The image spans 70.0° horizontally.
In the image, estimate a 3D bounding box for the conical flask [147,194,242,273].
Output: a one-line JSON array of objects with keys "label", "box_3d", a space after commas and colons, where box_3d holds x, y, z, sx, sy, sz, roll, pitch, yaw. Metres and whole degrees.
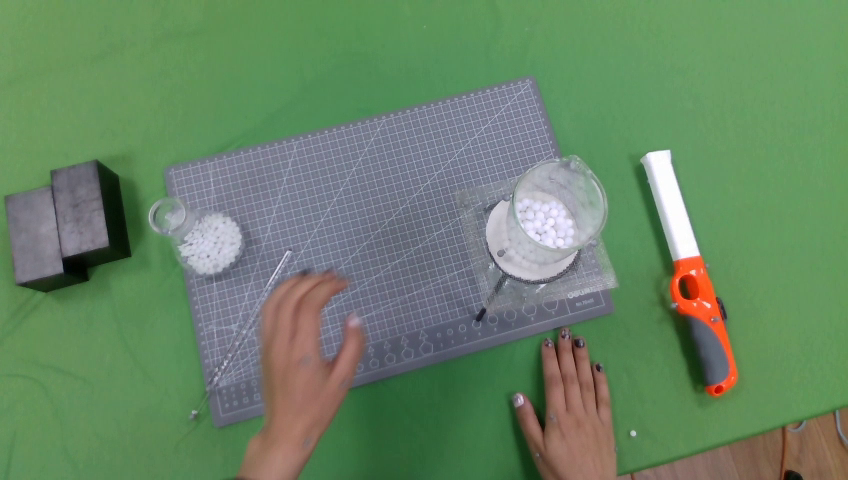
[{"label": "conical flask", "box_3d": [-0.241, -0.012, 0.623, 0.075, 0.122, 0.075, 0, 77, 0]}]

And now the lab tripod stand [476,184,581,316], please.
[{"label": "lab tripod stand", "box_3d": [0.099, 0.010, 0.619, 0.148, 0.132, 0.147, 0, 79, -1]}]

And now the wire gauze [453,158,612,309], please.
[{"label": "wire gauze", "box_3d": [0.100, -0.007, 0.556, 0.125, 0.011, 0.121, -12, 81, -5]}]

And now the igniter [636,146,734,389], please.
[{"label": "igniter", "box_3d": [0.291, 0.026, 0.677, 0.057, 0.025, 0.275, -9, 78, -14]}]

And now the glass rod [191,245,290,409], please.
[{"label": "glass rod", "box_3d": [-0.198, 0.092, 0.659, 0.008, 0.008, 0.199, 27, 78, 5]}]

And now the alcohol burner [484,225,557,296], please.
[{"label": "alcohol burner", "box_3d": [0.102, 0.018, 0.628, 0.078, 0.119, 0.077, 0, 78, 2]}]

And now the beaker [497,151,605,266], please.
[{"label": "beaker", "box_3d": [0.102, -0.022, 0.510, 0.074, 0.100, 0.083, 20, 78, 3]}]

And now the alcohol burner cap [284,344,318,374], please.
[{"label": "alcohol burner cap", "box_3d": [-0.132, 0.124, 0.637, 0.034, 0.048, 0.033, 0, 78, -1]}]
